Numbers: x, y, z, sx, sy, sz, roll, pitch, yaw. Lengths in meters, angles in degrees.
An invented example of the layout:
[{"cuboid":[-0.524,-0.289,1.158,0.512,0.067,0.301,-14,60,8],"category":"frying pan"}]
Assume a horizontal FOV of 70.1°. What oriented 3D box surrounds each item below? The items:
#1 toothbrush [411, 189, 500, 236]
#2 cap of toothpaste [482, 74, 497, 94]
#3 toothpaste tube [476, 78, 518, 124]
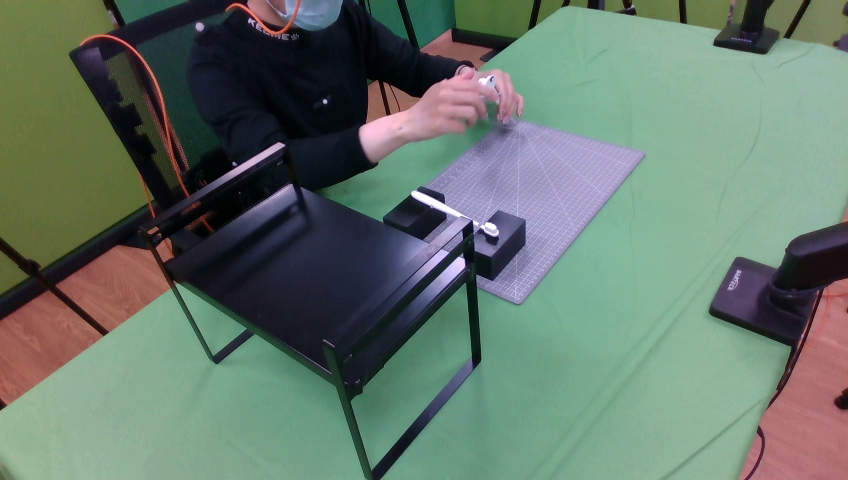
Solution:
[{"cuboid":[0.044,-0.046,0.940,0.180,0.017,0.014,28,67,36],"category":"toothbrush"},{"cuboid":[0.114,-0.275,1.062,0.011,0.037,0.037,36,55,23],"category":"cap of toothpaste"},{"cuboid":[0.135,-0.259,1.150,0.055,0.166,0.034,11,78,25],"category":"toothpaste tube"}]
